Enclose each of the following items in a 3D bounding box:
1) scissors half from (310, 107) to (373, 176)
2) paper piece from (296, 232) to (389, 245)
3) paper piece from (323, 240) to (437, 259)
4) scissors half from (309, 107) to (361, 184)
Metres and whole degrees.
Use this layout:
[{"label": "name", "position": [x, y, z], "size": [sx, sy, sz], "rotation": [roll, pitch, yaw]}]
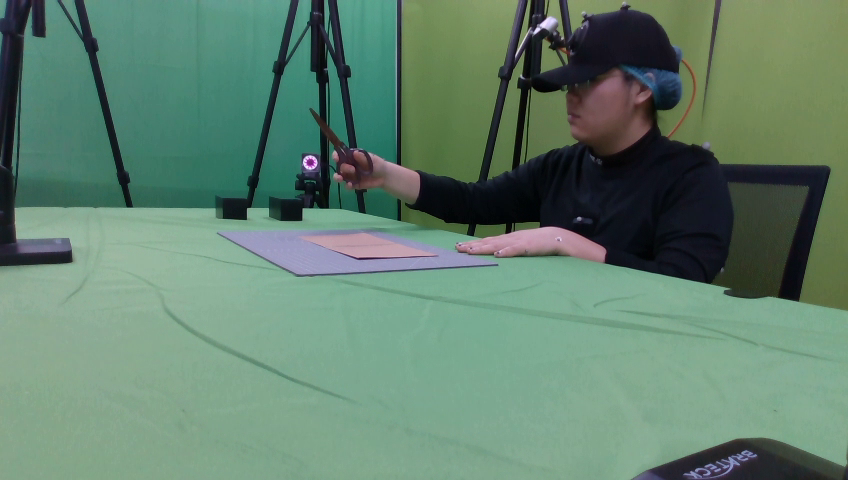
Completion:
[{"label": "scissors half", "position": [-0.160, -0.193, 1.182], "size": [0.176, 0.040, 0.013], "rotation": [45, 2, -26]}, {"label": "paper piece", "position": [-0.138, -0.002, 1.046], "size": [0.136, 0.004, 0.134], "rotation": [-3, 9, -31]}, {"label": "paper piece", "position": [-0.069, 0.015, 0.932], "size": [0.137, 0.008, 0.137], "rotation": [-5, 11, -30]}, {"label": "scissors half", "position": [-0.176, -0.182, 1.182], "size": [0.040, 0.175, 0.012], "rotation": [-28, 26, 0]}]
